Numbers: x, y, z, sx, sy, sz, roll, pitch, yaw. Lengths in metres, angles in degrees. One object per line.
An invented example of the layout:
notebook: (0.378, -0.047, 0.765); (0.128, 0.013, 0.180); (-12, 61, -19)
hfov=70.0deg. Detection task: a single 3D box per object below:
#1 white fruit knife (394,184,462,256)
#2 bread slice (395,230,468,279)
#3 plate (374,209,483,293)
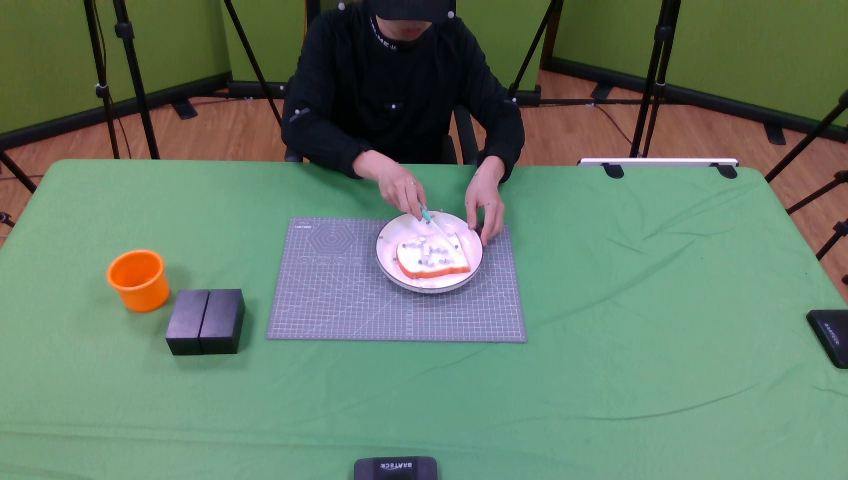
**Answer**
white fruit knife: (0.008, -0.041, 1.173); (0.016, 0.027, 0.206); (-35, 65, -17)
bread slice: (0.011, 0.029, 1.158); (0.132, 0.019, 0.104); (-9, 48, -14)
plate: (0.009, 0.024, 1.160); (0.209, 0.038, 0.208); (2, 46, -2)
